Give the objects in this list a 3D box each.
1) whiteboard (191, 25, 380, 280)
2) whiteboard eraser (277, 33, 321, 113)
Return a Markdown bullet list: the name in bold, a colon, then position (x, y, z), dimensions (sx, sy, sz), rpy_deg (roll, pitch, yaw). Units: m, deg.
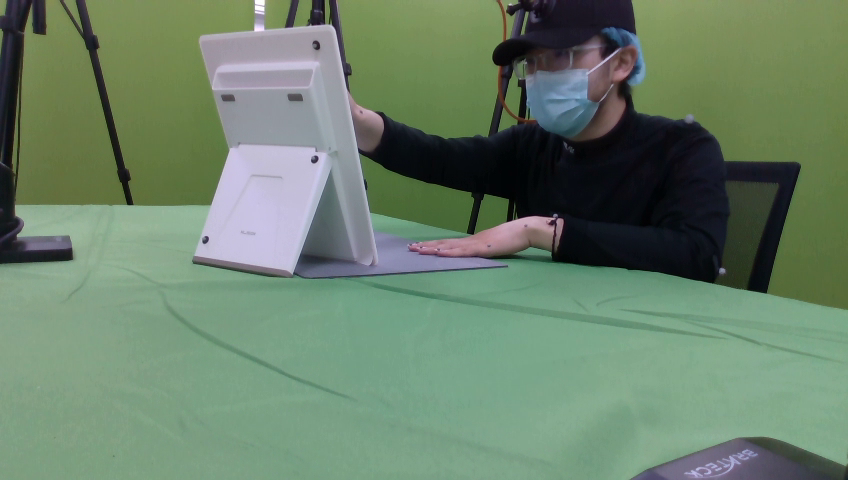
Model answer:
- **whiteboard**: position (-0.205, -0.085, 0.733), dimensions (0.216, 0.305, 0.144), rpy_deg (7, 30, 30)
- **whiteboard eraser**: position (-0.176, -0.226, 0.836), dimensions (0.055, 0.042, 0.112), rpy_deg (38, -29, 6)
